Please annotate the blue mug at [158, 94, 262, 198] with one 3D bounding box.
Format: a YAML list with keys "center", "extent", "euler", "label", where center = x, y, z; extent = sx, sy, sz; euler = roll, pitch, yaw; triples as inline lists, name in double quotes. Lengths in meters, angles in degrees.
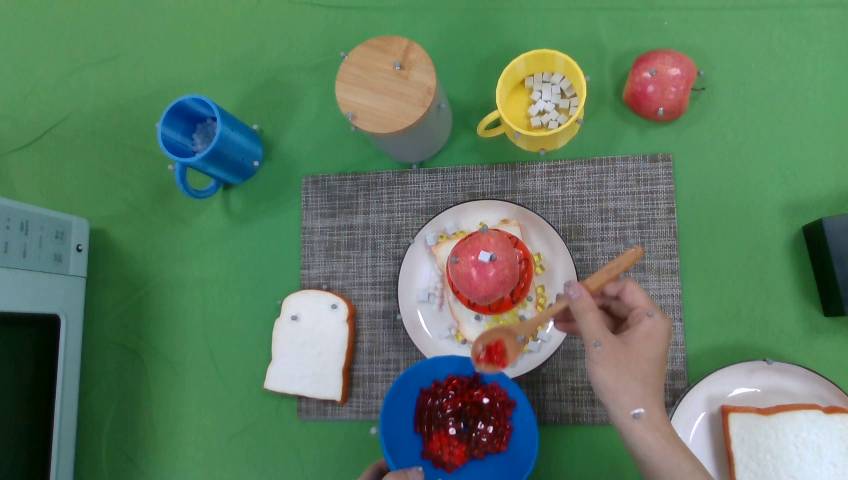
- center: [-0.269, -0.108, 0.753]
  extent: [0.082, 0.106, 0.116]
  euler: [19, 87, 13]
  label: "blue mug"

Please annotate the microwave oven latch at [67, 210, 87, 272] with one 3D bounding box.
- center: [-0.463, 0.002, 0.792]
  extent: [0.030, 0.029, 0.079]
  euler: [2, 84, 11]
  label: "microwave oven latch"

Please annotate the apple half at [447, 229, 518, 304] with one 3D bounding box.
- center: [0.060, 0.026, 0.634]
  extent: [0.081, 0.033, 0.081]
  euler: [-3, 79, 18]
  label: "apple half"

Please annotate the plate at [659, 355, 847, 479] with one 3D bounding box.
- center: [0.348, 0.222, 0.621]
  extent: [0.209, 0.038, 0.208]
  euler: [-2, 82, 12]
  label: "plate"

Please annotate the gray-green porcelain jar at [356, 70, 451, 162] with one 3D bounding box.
- center: [-0.026, -0.153, 0.700]
  extent: [0.105, 0.127, 0.105]
  euler: [-2, 81, 11]
  label: "gray-green porcelain jar"

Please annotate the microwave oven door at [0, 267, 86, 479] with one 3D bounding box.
- center: [-0.484, 0.205, 0.665]
  extent: [0.039, 0.245, 0.354]
  euler: [-2, 82, 12]
  label: "microwave oven door"

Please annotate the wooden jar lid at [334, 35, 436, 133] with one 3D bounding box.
- center: [-0.040, -0.162, 0.638]
  extent: [0.108, 0.021, 0.108]
  euler: [-2, 80, 9]
  label: "wooden jar lid"

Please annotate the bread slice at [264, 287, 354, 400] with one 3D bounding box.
- center: [-0.139, 0.123, 0.739]
  extent: [0.104, 0.019, 0.131]
  euler: [6, 85, 11]
  label: "bread slice"

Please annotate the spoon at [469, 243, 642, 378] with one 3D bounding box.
- center: [0.113, 0.065, 0.537]
  extent: [0.194, 0.022, 0.041]
  euler: [-42, 77, 30]
  label: "spoon"

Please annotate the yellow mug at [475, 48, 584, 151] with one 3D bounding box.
- center: [0.119, -0.154, 0.702]
  extent: [0.131, 0.064, 0.099]
  euler: [-25, 78, 8]
  label: "yellow mug"

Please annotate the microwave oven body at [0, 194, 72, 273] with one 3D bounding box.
- center: [-0.626, 0.169, 0.704]
  extent: [0.325, 0.261, 0.440]
  euler: [-2, 83, 11]
  label: "microwave oven body"

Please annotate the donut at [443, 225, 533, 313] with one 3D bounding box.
- center: [0.070, 0.032, 0.669]
  extent: [0.099, 0.048, 0.099]
  euler: [-2, 83, 12]
  label: "donut"

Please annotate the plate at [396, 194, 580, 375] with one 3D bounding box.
- center: [0.071, 0.052, 0.695]
  extent: [0.207, 0.039, 0.207]
  euler: [-1, 83, 11]
  label: "plate"

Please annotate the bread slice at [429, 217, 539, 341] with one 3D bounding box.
- center: [0.076, 0.050, 0.694]
  extent: [0.107, 0.018, 0.133]
  euler: [-19, 80, 9]
  label: "bread slice"

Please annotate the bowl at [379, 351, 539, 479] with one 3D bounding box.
- center: [0.028, 0.193, 0.587]
  extent: [0.151, 0.077, 0.150]
  euler: [6, 47, -6]
  label: "bowl"

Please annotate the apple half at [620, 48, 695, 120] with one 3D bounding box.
- center: [0.265, -0.182, 0.684]
  extent: [0.074, 0.053, 0.080]
  euler: [21, 87, 16]
  label: "apple half"
